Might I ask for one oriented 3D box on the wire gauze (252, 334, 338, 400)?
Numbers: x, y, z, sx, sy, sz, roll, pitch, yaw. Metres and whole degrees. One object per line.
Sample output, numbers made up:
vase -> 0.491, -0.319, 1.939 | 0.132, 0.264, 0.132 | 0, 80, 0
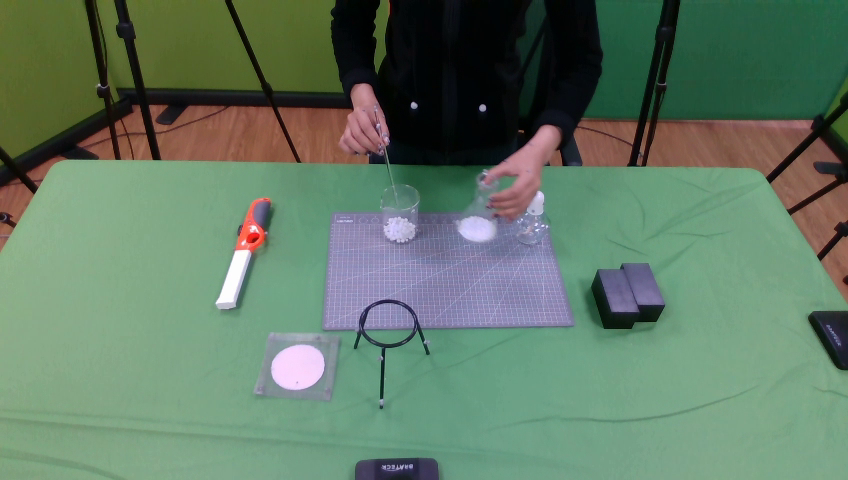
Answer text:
wire gauze -> -0.209, 0.204, 0.996 | 0.125, 0.011, 0.120 | 3, 45, 1

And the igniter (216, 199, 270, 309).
igniter -> -0.342, 0.016, 1.153 | 0.057, 0.025, 0.275 | -3, 45, 7

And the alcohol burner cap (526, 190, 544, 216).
alcohol burner cap -> 0.216, -0.073, 1.170 | 0.034, 0.048, 0.033 | 0, 42, 0

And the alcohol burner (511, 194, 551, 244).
alcohol burner -> 0.215, -0.048, 1.196 | 0.078, 0.119, 0.077 | 4, 46, -4

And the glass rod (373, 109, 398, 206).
glass rod -> -0.069, -0.147, 1.108 | 0.008, 0.201, 0.008 | -8, 35, 6

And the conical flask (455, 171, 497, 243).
conical flask -> 0.098, -0.059, 1.048 | 0.075, 0.122, 0.075 | 5, 44, -5

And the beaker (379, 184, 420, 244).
beaker -> -0.051, -0.047, 1.184 | 0.084, 0.101, 0.073 | -27, 53, -26

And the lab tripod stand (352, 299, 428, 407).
lab tripod stand -> -0.056, 0.166, 0.958 | 0.148, 0.132, 0.147 | 3, 44, -2
